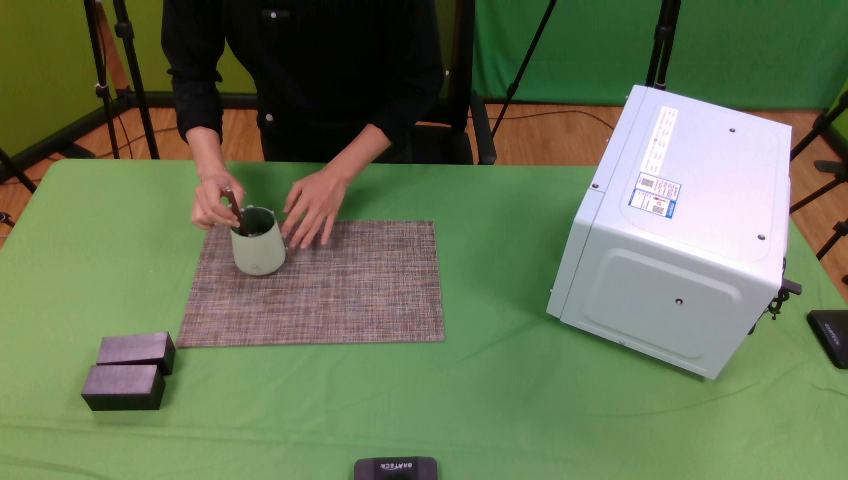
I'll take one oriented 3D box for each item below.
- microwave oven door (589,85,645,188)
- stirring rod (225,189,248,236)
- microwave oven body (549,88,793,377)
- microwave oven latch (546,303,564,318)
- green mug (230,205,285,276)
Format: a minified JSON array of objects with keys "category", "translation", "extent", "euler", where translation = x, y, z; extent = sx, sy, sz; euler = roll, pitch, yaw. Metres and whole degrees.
[{"category":"microwave oven door","translation":[0.342,-0.107,1.148],"extent":[0.039,0.245,0.354],"euler":[20,48,15]},{"category":"stirring rod","translation":[-0.317,-0.023,1.052],"extent":[0.014,0.177,0.006],"euler":[16,50,15]},{"category":"microwave oven body","translation":[0.456,-0.028,1.087],"extent":[0.325,0.261,0.440],"euler":[20,47,16]},{"category":"microwave oven latch","translation":[0.242,0.102,1.081],"extent":[0.030,0.029,0.079],"euler":[22,48,17]},{"category":"green mug","translation":[-0.311,-0.008,1.118],"extent":[0.092,0.105,0.124],"euler":[-14,49,-16]}]
